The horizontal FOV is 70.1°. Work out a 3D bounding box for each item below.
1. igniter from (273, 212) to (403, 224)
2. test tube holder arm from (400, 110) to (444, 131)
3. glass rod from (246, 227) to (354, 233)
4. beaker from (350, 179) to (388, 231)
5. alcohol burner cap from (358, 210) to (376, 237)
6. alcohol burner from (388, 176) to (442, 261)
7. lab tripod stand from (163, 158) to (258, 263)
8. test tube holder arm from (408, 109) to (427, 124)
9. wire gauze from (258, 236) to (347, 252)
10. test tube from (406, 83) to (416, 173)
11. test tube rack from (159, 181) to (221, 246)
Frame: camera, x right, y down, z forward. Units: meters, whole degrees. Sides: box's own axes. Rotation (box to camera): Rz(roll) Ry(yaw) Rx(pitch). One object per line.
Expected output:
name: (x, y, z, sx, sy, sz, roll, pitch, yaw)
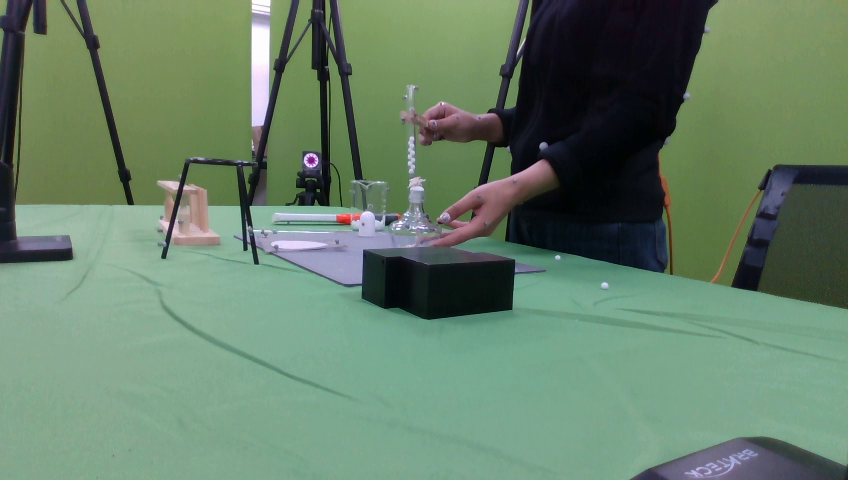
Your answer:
igniter: (-0.179, -0.048, 1.290, 0.278, 0.025, 0.057, -1, -2, -24)
test tube holder arm: (-0.001, -0.212, 1.080, 0.013, 0.015, 0.179, 2, 3, 22)
glass rod: (-0.224, -0.017, 1.108, 0.201, 0.008, 0.008, 1, 7, -27)
beaker: (-0.111, -0.069, 1.204, 0.074, 0.100, 0.084, 2, 9, 0)
alcohol burner cap: (-0.104, -0.030, 1.098, 0.034, 0.048, 0.034, 2, 7, 0)
alcohol burner: (-0.012, -0.031, 0.853, 0.078, 0.119, 0.078, 3, 10, 0)
lab tripod stand: (-0.265, -0.041, 0.802, 0.148, 0.131, 0.148, 4, 6, 0)
test tube holder arm: (-0.011, -0.210, 1.035, 0.010, 0.015, 0.088, 1, 3, 15)
wire gauze: (-0.189, 0.005, 0.931, 0.122, 0.011, 0.124, 1, 7, -21)
test tube: (-0.022, -0.188, 1.015, 0.017, 0.150, 0.017, -1, 0, 0)
test tube rack: (-0.395, -0.050, 1.010, 0.067, 0.085, 0.241, -2, 8, -28)
